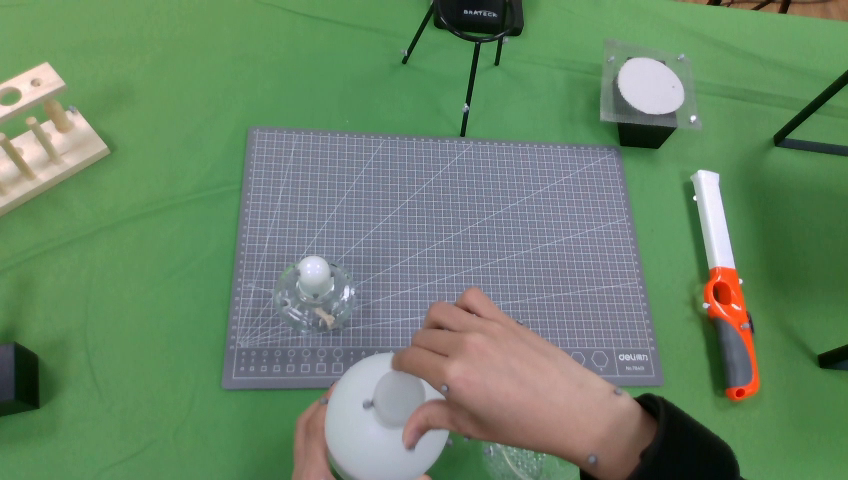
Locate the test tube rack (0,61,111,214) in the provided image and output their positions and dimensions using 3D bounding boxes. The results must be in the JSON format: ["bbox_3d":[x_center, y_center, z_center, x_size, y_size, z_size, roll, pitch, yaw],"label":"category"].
[{"bbox_3d":[-0.444,-0.068,0.584,0.242,0.085,0.066,-38,77,-22],"label":"test tube rack"}]

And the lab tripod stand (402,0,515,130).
[{"bbox_3d":[0.047,-0.225,0.704,0.149,0.132,0.147,4,67,-9],"label":"lab tripod stand"}]

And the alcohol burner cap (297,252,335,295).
[{"bbox_3d":[-0.098,0.028,0.538,0.034,0.048,0.033,2,71,-4],"label":"alcohol burner cap"}]

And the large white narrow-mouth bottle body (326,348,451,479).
[{"bbox_3d":[-0.030,0.144,0.497,0.102,0.195,0.101,3,65,-7],"label":"large white narrow-mouth bottle body"}]

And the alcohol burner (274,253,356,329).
[{"bbox_3d":[-0.102,0.042,0.571,0.078,0.119,0.077,4,64,-9],"label":"alcohol burner"}]

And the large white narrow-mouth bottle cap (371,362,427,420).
[{"bbox_3d":[-0.018,0.102,0.411,0.038,0.024,0.037,3,65,-7],"label":"large white narrow-mouth bottle cap"}]

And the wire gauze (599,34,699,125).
[{"bbox_3d":[0.273,-0.196,0.741,0.121,0.011,0.124,9,65,-5],"label":"wire gauze"}]

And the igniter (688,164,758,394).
[{"bbox_3d":[0.340,0.037,0.693,0.057,0.025,0.274,8,66,-16],"label":"igniter"}]

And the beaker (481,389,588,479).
[{"bbox_3d":[0.092,0.182,0.552,0.084,0.101,0.073,7,65,-4],"label":"beaker"}]
